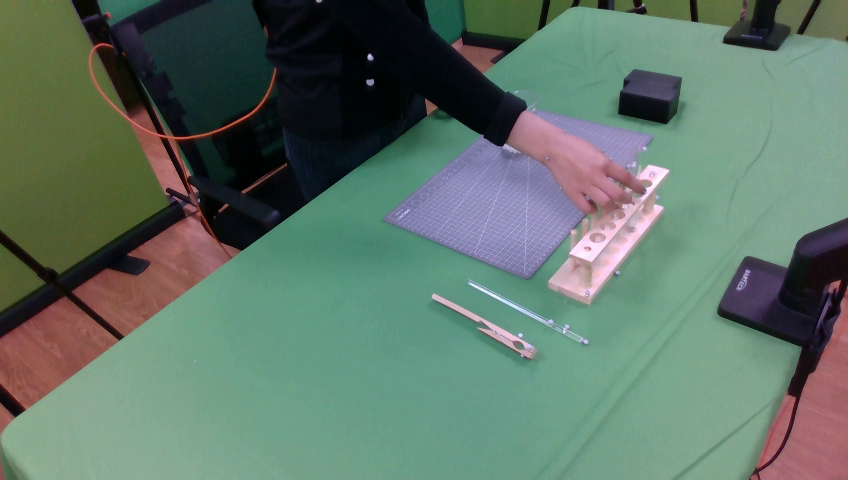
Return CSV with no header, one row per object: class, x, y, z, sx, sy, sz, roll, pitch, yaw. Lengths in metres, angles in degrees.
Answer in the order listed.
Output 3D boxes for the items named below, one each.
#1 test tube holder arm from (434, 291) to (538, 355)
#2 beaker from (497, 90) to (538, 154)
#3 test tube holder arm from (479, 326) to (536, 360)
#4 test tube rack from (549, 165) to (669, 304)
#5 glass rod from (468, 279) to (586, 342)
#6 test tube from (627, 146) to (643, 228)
test tube holder arm,0.081,0.112,0.832,0.177,0.015,0.013,29,83,36
beaker,0.176,-0.220,1.143,0.073,0.101,0.084,27,52,35
test tube holder arm,0.110,0.134,0.805,0.087,0.015,0.010,29,83,36
test tube rack,0.279,-0.018,0.902,0.066,0.085,0.243,24,50,33
glass rod,0.140,0.096,0.852,0.198,0.008,0.008,27,52,34
test tube,0.308,-0.074,0.884,0.017,0.151,0.017,-8,44,8
